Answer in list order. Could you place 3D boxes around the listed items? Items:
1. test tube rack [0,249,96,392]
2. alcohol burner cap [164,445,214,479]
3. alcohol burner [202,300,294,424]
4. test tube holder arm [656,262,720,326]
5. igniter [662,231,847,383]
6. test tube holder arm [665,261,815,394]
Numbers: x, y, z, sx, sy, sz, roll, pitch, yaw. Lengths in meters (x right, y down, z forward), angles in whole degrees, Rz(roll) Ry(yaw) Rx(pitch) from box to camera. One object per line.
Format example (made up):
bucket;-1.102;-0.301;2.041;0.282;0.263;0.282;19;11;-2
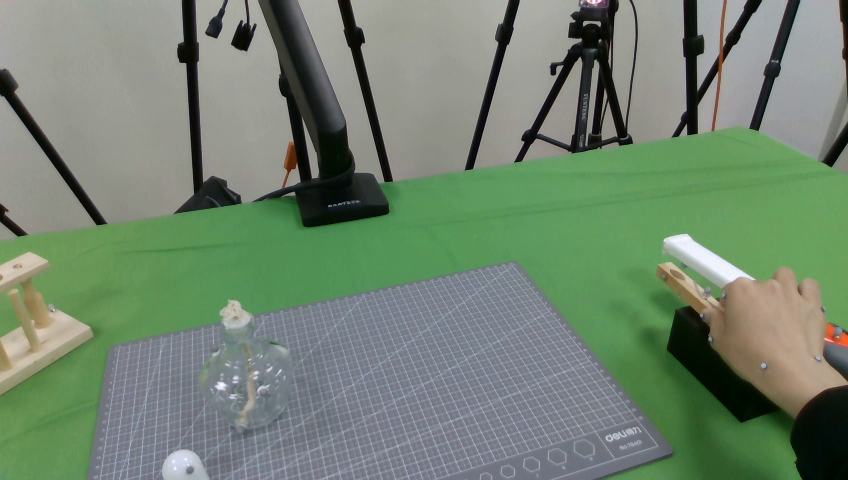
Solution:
test tube rack;-0.433;0.108;0.535;0.066;0.086;0.242;18;37;27
alcohol burner cap;-0.177;0.174;0.455;0.034;0.048;0.033;0;32;0
alcohol burner;-0.150;0.097;0.510;0.078;0.120;0.077;0;33;0
test tube holder arm;0.251;0.050;0.573;0.010;0.015;0.087;-20;36;-10
igniter;0.315;0.061;0.547;0.057;0.025;0.273;-11;30;-15
test tube holder arm;0.271;0.070;0.539;0.013;0.015;0.176;-20;36;-11
